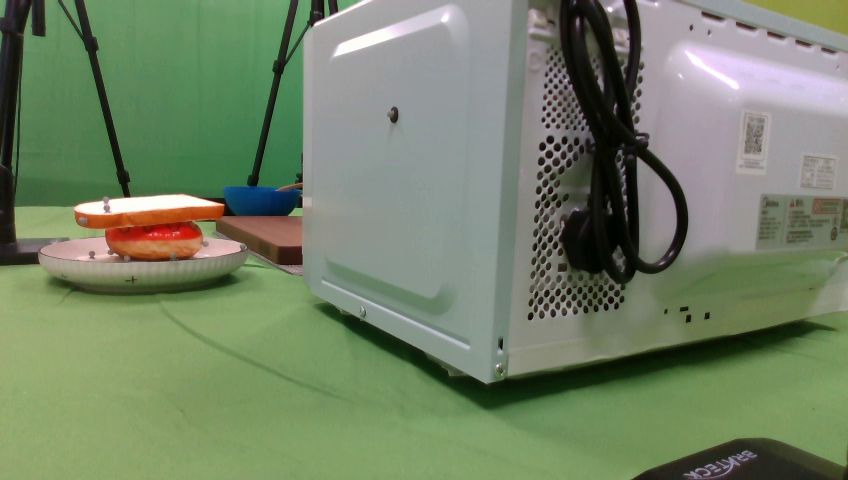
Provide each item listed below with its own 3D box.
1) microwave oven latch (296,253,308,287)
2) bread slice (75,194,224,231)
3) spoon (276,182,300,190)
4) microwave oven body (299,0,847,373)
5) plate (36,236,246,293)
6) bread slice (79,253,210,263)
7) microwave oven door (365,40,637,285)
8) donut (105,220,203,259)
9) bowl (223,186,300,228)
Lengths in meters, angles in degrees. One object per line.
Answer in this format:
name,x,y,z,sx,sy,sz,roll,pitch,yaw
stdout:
microwave oven latch,-0.081,0.028,0.574,0.079,0.029,0.030,1,6,-16
bread slice,-0.301,-0.032,0.659,0.106,0.018,0.135,10,17,41
spoon,-0.300,-0.102,1.266,0.194,0.021,0.041,-23,11,-24
microwave oven body,0.151,-0.055,0.543,0.444,0.260,0.324,-2,7,-33
plate,-0.305,0.026,0.668,0.208,0.039,0.207,2,7,0
bread slice,-0.302,0.027,0.662,0.132,0.019,0.104,-4,8,-45
microwave oven door,0.105,-0.081,0.694,0.358,0.243,0.039,-2,8,-30
donut,-0.298,-0.003,0.669,0.099,0.048,0.099,3,-1,0
bowl,-0.330,-0.068,1.230,0.151,0.077,0.151,3,7,0
